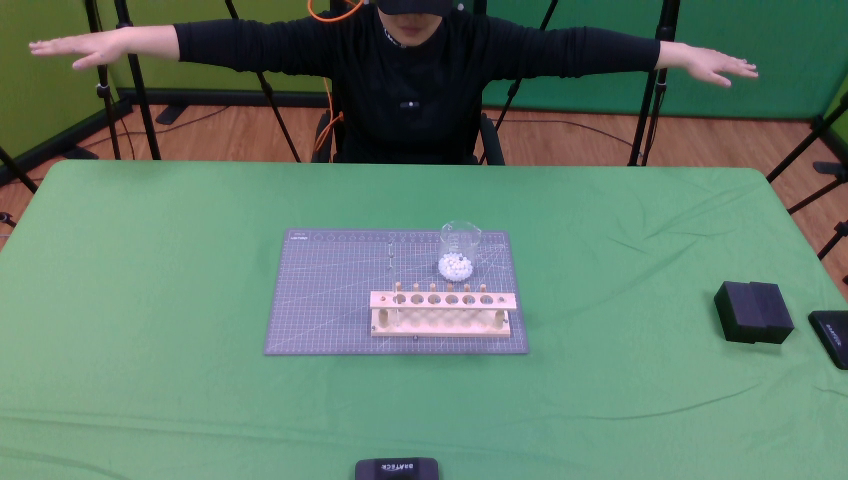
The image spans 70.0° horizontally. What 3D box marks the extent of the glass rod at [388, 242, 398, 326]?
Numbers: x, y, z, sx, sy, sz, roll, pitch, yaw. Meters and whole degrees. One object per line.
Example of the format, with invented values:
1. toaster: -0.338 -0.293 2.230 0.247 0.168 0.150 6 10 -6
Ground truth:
1. glass rod: -0.051 0.076 0.981 0.008 0.201 0.008 0 44 1

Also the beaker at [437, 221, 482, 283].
1. beaker: 0.064 0.024 1.124 0.084 0.101 0.073 -13 49 -17

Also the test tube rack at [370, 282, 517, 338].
1. test tube rack: 0.030 0.116 1.041 0.242 0.085 0.066 1 46 -3
